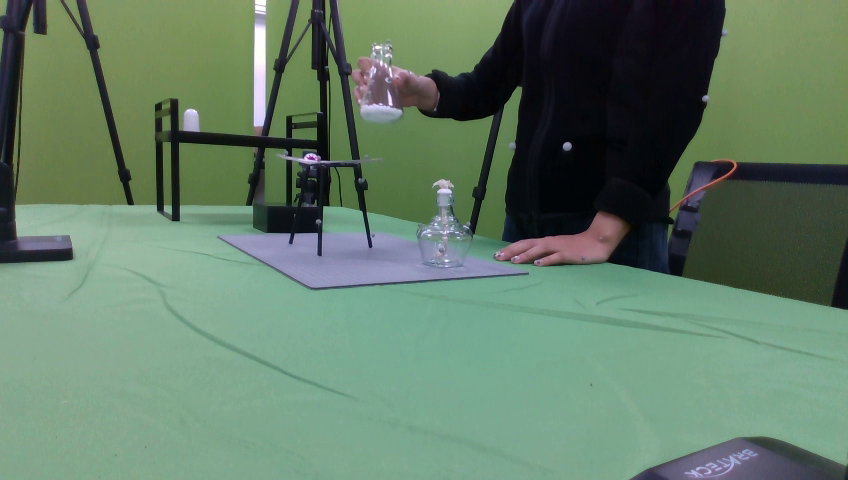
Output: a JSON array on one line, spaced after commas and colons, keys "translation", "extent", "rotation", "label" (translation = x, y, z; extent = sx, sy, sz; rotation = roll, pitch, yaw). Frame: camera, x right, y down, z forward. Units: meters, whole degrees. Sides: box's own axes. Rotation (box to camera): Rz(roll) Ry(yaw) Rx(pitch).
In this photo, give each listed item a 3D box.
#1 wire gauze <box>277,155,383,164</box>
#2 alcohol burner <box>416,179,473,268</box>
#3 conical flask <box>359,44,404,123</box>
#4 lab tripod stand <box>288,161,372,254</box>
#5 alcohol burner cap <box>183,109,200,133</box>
[{"translation": [-0.142, -0.118, 0.899], "extent": [0.122, 0.011, 0.124], "rotation": [-3, 9, -36], "label": "wire gauze"}, {"translation": [0.028, -0.022, 0.816], "extent": [0.078, 0.119, 0.078], "rotation": [0, 7, 0], "label": "alcohol burner"}, {"translation": [-0.070, -0.261, 1.002], "extent": [0.075, 0.121, 0.075], "rotation": [0, -6, 0], "label": "conical flask"}, {"translation": [-0.148, -0.052, 0.908], "extent": [0.148, 0.131, 0.148], "rotation": [1, 8, 0], "label": "lab tripod stand"}, {"translation": [-0.472, -0.241, 1.229], "extent": [0.034, 0.048, 0.034], "rotation": [3, 8, 0], "label": "alcohol burner cap"}]
